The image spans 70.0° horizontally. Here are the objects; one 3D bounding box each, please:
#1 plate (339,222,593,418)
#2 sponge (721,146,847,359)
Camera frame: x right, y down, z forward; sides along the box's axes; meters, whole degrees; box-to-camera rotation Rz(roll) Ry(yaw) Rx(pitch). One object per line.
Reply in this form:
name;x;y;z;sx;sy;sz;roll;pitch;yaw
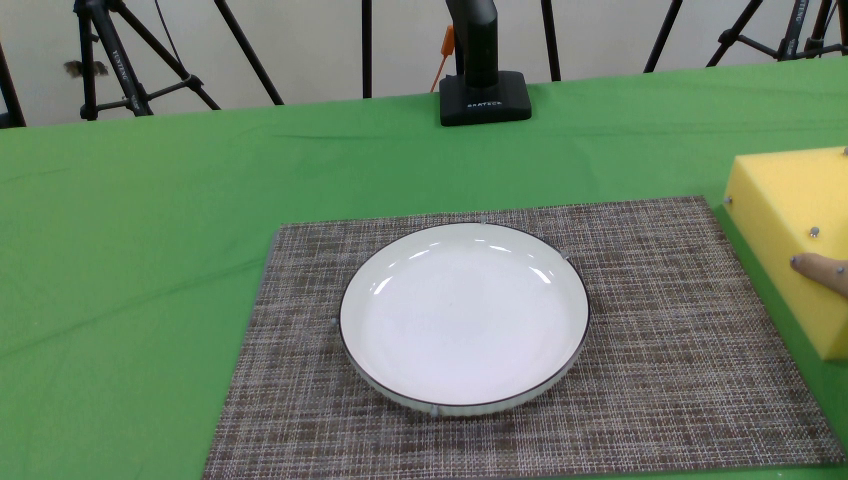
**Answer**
plate;0.035;0.064;0.511;0.207;0.039;0.205;-4;40;4
sponge;0.362;0.001;0.525;0.118;0.061;0.204;-5;40;2
